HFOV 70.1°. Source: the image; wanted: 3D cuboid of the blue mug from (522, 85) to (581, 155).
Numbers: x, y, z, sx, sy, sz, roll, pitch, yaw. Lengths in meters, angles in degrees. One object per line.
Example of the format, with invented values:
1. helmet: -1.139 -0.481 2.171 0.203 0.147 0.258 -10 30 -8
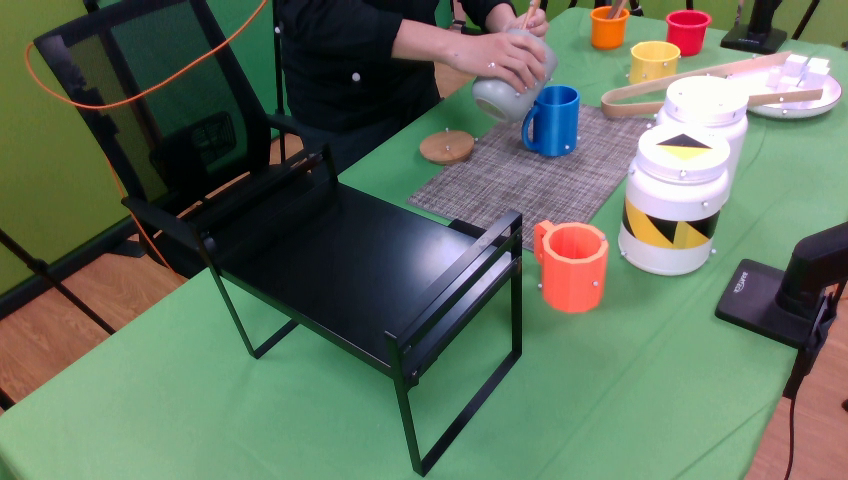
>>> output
1. blue mug: 0.233 -0.218 1.127 0.117 0.106 0.081 -23 43 -16

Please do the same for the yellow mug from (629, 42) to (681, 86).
1. yellow mug: 0.495 -0.389 1.321 0.100 0.064 0.130 -14 40 -6

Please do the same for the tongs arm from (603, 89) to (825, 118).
1. tongs arm: 0.546 -0.262 1.163 0.386 0.028 0.028 -1 49 18

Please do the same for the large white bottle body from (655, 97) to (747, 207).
1. large white bottle body: 0.431 -0.148 0.959 0.130 0.185 0.130 -4 41 4

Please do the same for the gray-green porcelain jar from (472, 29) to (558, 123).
1. gray-green porcelain jar: 0.151 -0.273 1.031 0.105 0.107 0.126 32 88 37

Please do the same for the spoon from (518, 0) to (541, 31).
1. spoon: 0.161 -0.343 1.054 0.042 0.193 0.021 20 9 -23

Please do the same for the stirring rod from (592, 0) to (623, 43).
1. stirring rod: 0.460 -0.557 1.461 0.014 0.176 0.006 35 11 22

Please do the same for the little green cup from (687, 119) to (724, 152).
1. little green cup: 0.514 -0.191 1.109 0.061 0.039 0.061 -5 40 5

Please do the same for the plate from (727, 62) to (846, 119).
1. plate: 0.709 -0.292 1.197 0.207 0.039 0.206 -4 40 4

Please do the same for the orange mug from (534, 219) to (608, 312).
1. orange mug: 0.200 0.027 0.858 0.084 0.101 0.125 -24 48 -18

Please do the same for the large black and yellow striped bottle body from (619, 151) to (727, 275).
1. large black and yellow striped bottle body: 0.354 -0.056 0.865 0.131 0.185 0.130 -4 41 4

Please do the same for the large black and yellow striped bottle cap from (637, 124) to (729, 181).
1. large black and yellow striped bottle cap: 0.346 -0.119 0.810 0.115 0.019 0.114 -5 41 4

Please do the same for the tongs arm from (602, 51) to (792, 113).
1. tongs arm: 0.552 -0.320 1.224 0.384 0.027 0.050 -10 43 7

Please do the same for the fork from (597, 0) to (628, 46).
1. fork: 0.479 -0.558 1.455 0.028 0.019 0.207 35 100 38

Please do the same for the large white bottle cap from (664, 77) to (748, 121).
1. large white bottle cap: 0.421 -0.212 0.905 0.115 0.018 0.114 -4 40 4

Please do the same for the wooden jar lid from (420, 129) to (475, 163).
1. wooden jar lid: 0.047 -0.183 1.183 0.108 0.021 0.108 -6 37 5
